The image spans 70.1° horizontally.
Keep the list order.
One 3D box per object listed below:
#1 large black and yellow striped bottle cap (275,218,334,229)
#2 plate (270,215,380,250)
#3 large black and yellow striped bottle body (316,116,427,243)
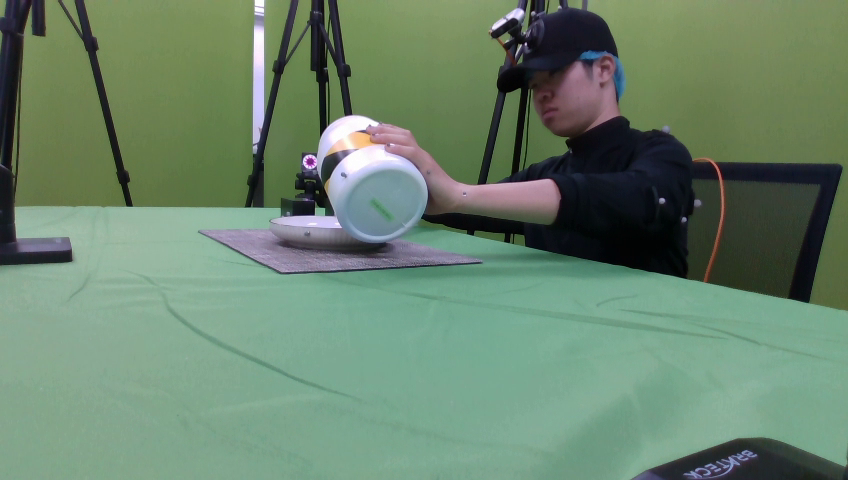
[{"bbox_3d":[-0.236,-0.033,1.197,0.115,0.019,0.115,2,3,0],"label":"large black and yellow striped bottle cap"},{"bbox_3d":[-0.145,-0.013,0.992,0.208,0.039,0.207,2,7,0],"label":"plate"},{"bbox_3d":[-0.084,-0.095,0.879,0.131,0.130,0.183,0,34,-23],"label":"large black and yellow striped bottle body"}]
